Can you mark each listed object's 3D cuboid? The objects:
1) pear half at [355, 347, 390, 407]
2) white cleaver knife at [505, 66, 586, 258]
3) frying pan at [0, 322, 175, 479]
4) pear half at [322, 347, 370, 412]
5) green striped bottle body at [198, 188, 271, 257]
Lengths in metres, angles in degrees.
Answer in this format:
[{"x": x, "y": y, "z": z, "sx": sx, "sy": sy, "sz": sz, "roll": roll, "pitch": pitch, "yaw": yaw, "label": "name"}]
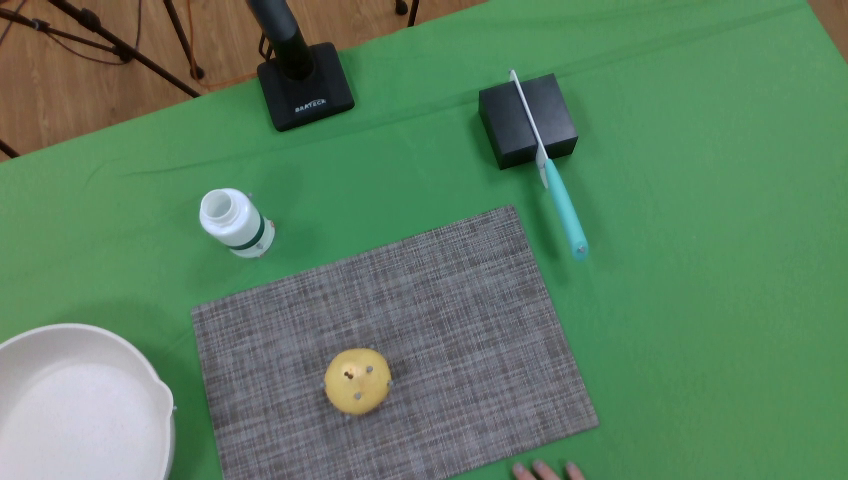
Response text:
[{"x": -0.058, "y": 0.158, "z": 0.715, "sx": 0.031, "sy": 0.088, "sz": 0.070, "roll": -14, "pitch": 68, "yaw": 0, "label": "pear half"}, {"x": 0.157, "y": -0.107, "z": 0.802, "sx": 0.021, "sy": 0.066, "sz": 0.284, "roll": -18, "pitch": 70, "yaw": 5, "label": "white cleaver knife"}, {"x": -0.394, "y": 0.331, "z": 0.676, "sx": 0.307, "sy": 0.103, "sz": 0.483, "roll": -23, "pitch": 64, "yaw": -3, "label": "frying pan"}, {"x": -0.094, "y": 0.162, "z": 0.706, "sx": 0.056, "sy": 0.110, "sz": 0.075, "roll": -14, "pitch": 67, "yaw": -1, "label": "pear half"}, {"x": -0.243, "y": -0.024, "z": 0.771, "sx": 0.063, "sy": 0.120, "sz": 0.063, "roll": -1, "pitch": 72, "yaw": 3, "label": "green striped bottle body"}]
